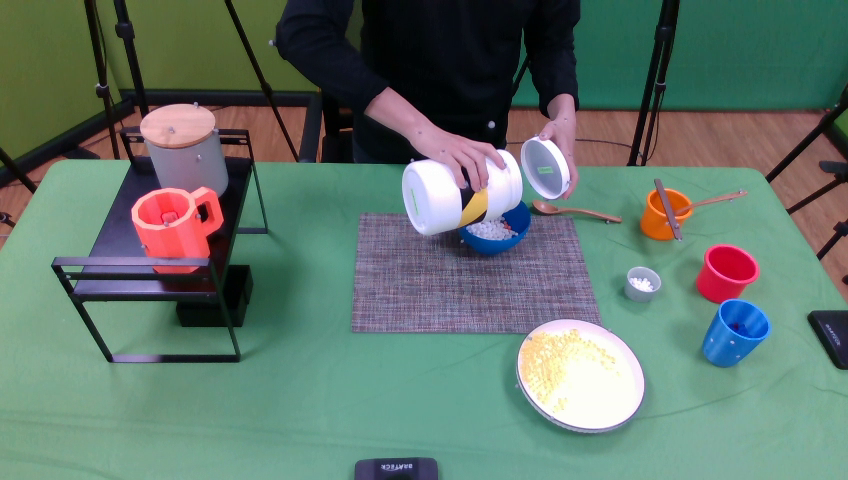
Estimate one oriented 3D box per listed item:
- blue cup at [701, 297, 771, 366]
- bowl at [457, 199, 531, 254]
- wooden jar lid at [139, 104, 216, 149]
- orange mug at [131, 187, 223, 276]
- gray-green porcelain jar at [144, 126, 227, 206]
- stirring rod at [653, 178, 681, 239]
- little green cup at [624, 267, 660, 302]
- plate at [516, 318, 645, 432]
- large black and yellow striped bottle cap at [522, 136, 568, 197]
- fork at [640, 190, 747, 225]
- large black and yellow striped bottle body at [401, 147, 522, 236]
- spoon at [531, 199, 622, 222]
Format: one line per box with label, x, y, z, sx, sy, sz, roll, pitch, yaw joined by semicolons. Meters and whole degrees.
blue cup;0.519;0.162;1.025;0.093;0.101;0.092;3;45;-3
bowl;0.129;-0.025;1.186;0.151;0.077;0.150;2;46;-2
wooden jar lid;-0.372;-0.169;0.920;0.108;0.021;0.107;4;44;-4
orange mug;-0.354;-0.022;0.888;0.083;0.101;0.126;31;55;24
gray-green porcelain jar;-0.375;-0.125;0.967;0.106;0.127;0.105;2;46;-2
stirring rod;0.482;-0.065;1.204;0.014;0.006;0.175;2;46;0
little green cup;0.406;0.084;1.135;0.061;0.039;0.061;3;46;-3
plate;0.253;0.221;0.993;0.209;0.038;0.208;2;46;-2
large black and yellow striped bottle cap;0.214;-0.130;1.076;0.019;0.115;0.114;-30;54;-11
fork;0.533;-0.064;1.211;0.207;0.019;0.028;-22;28;38
large black and yellow striped bottle body;0.066;-0.089;1.056;0.184;0.131;0.130;-15;49;-20
spoon;0.322;-0.060;1.279;0.194;0.022;0.041;8;33;4
